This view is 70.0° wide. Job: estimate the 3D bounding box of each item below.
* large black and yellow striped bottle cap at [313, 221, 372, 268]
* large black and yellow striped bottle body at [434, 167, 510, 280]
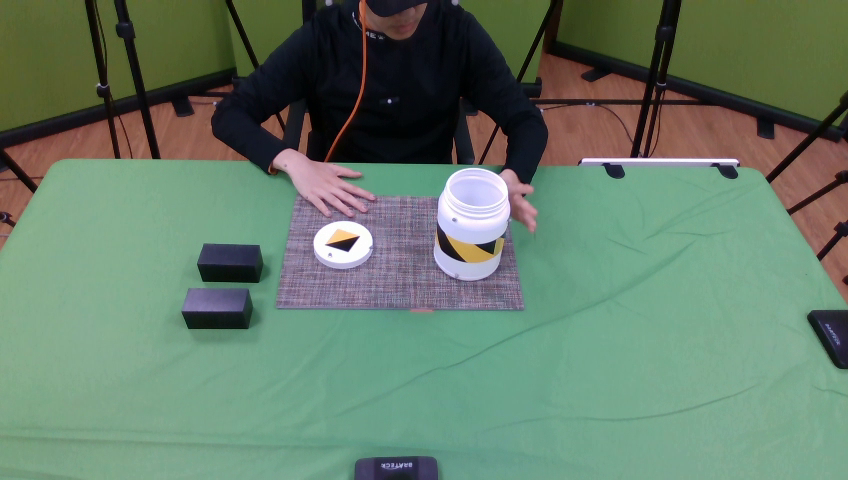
[{"bbox_3d":[-0.158,0.007,1.176,0.115,0.019,0.114,2,45,-2],"label":"large black and yellow striped bottle cap"},{"bbox_3d":[0.087,-0.031,1.114,0.131,0.185,0.130,2,46,-2],"label":"large black and yellow striped bottle body"}]
